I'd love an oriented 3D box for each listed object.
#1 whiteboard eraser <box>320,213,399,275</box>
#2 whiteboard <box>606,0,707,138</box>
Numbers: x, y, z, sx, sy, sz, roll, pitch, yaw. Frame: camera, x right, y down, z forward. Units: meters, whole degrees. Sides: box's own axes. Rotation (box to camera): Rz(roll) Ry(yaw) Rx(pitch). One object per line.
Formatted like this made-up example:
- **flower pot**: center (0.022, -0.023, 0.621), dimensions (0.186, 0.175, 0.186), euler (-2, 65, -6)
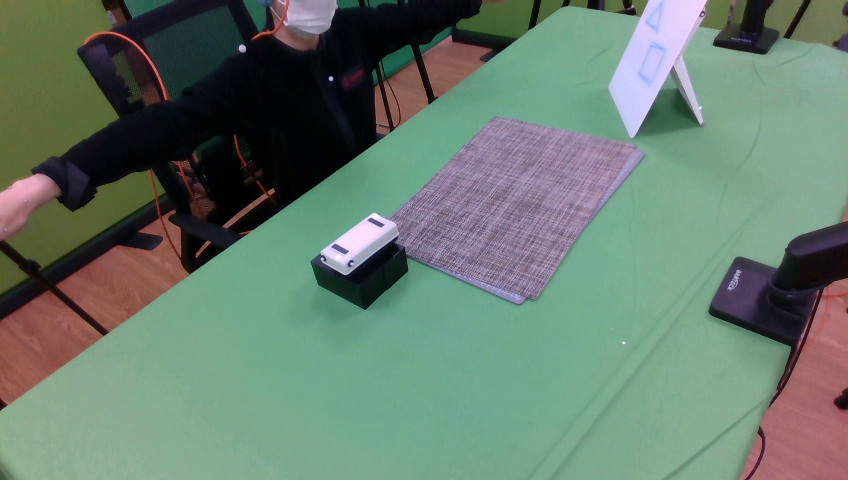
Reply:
- **whiteboard eraser**: center (-0.092, 0.008, 0.884), dimensions (0.055, 0.042, 0.113), euler (28, 51, 32)
- **whiteboard**: center (0.496, -0.359, 1.147), dimensions (0.144, 0.305, 0.216), euler (11, 40, -7)
